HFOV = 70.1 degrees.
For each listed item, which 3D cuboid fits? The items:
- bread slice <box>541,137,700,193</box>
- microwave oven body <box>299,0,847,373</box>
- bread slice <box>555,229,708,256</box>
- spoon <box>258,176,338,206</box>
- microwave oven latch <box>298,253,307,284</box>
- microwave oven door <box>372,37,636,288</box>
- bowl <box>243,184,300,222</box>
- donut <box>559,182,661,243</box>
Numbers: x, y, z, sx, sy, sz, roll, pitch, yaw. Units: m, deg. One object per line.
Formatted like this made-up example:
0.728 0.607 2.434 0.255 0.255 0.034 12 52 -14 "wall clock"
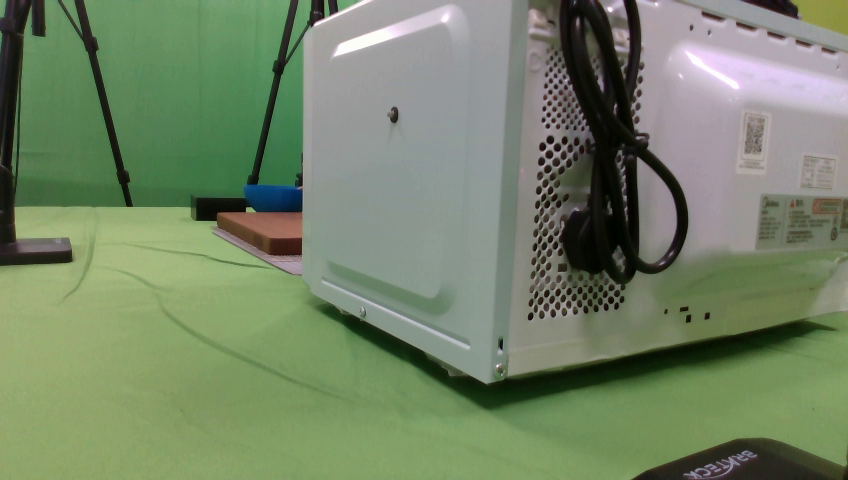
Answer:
0.197 -0.074 0.593 0.107 0.018 0.133 -1 22 -41 "bread slice"
0.151 -0.055 0.543 0.444 0.260 0.324 -2 7 -33 "microwave oven body"
0.204 0.001 0.582 0.105 0.019 0.131 5 0 -17 "bread slice"
-0.279 -0.112 1.357 0.194 0.021 0.041 -27 19 -26 "spoon"
-0.082 0.027 0.585 0.079 0.029 0.030 -2 8 -36 "microwave oven latch"
0.110 -0.080 0.686 0.358 0.243 0.039 -2 9 -33 "microwave oven door"
-0.321 -0.081 1.334 0.151 0.077 0.151 3 7 0 "bowl"
0.185 -0.029 0.606 0.099 0.048 0.099 11 -10 2 "donut"
